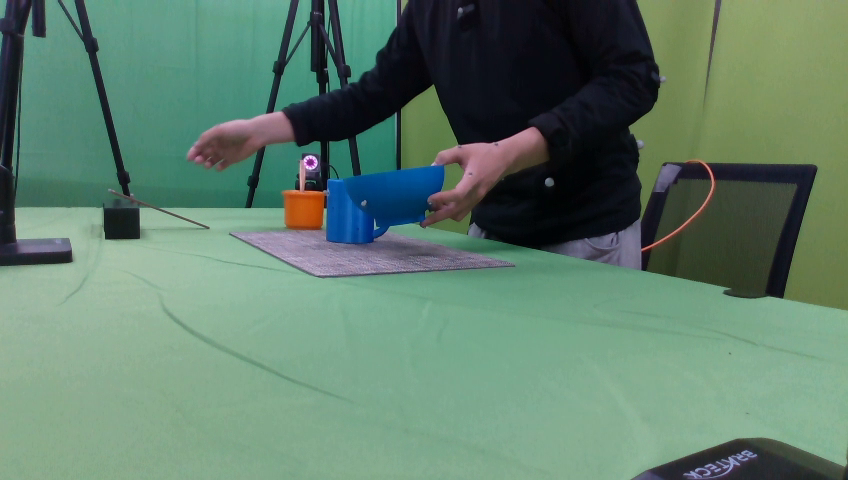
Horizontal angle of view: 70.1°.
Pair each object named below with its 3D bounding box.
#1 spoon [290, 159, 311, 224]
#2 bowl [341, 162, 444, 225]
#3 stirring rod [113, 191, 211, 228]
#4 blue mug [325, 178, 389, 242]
[{"bbox_3d":[-0.256,-0.104,1.265,0.042,0.193,0.021,1,-37,-10],"label":"spoon"},{"bbox_3d":[-0.040,-0.065,0.881,0.151,0.077,0.151,-8,6,1],"label":"bowl"},{"bbox_3d":[-0.483,-0.055,1.121,0.177,0.006,0.014,22,-7,-22],"label":"stirring rod"},{"bbox_3d":[-0.111,-0.052,1.034,0.116,0.106,0.082,3,7,7],"label":"blue mug"}]
